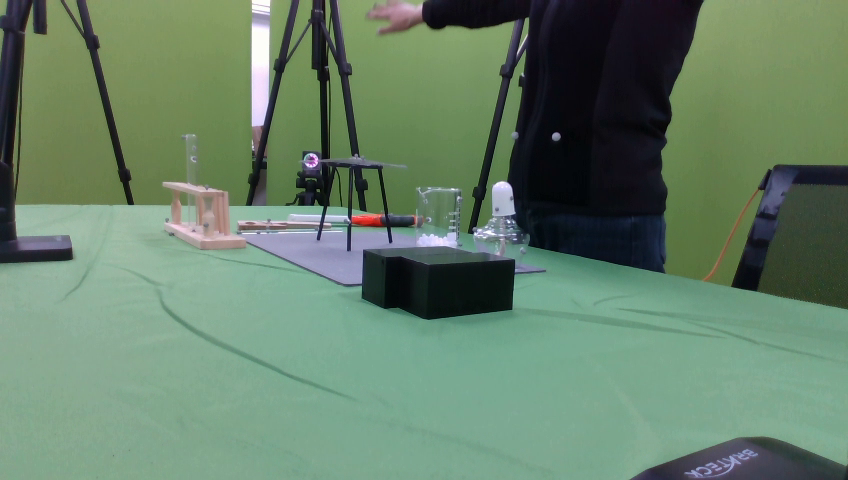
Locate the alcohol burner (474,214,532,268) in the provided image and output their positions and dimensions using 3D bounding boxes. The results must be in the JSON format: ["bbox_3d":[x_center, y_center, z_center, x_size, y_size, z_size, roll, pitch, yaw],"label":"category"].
[{"bbox_3d":[0.107,-0.022,0.819,0.078,0.119,0.078,1,9,0],"label":"alcohol burner"}]

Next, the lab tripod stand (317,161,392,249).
[{"bbox_3d":[-0.111,-0.059,0.963,0.148,0.131,0.148,4,8,0],"label":"lab tripod stand"}]

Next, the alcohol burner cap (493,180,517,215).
[{"bbox_3d":[0.107,-0.057,0.812,0.034,0.048,0.034,-7,11,2],"label":"alcohol burner cap"}]

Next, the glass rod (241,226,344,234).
[{"bbox_3d":[-0.239,-0.019,1.119,0.201,0.008,0.008,-3,9,-34],"label":"glass rod"}]

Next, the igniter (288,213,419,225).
[{"bbox_3d":[-0.145,-0.044,1.278,0.278,0.025,0.057,-1,-2,-21],"label":"igniter"}]

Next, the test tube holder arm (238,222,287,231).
[{"bbox_3d":[-0.296,-0.024,1.113,0.088,0.015,0.010,-2,42,-32],"label":"test tube holder arm"}]

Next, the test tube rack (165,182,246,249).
[{"bbox_3d":[-0.360,-0.045,0.982,0.067,0.085,0.241,-3,9,-34],"label":"test tube rack"}]

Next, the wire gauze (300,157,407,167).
[{"bbox_3d":[-0.112,-0.125,0.957,0.121,0.011,0.126,11,11,42],"label":"wire gauze"}]

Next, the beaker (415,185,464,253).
[{"bbox_3d":[0.021,-0.033,0.938,0.073,0.100,0.084,7,9,35],"label":"beaker"}]

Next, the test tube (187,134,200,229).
[{"bbox_3d":[-0.366,-0.092,0.959,0.017,0.150,0.017,0,3,0],"label":"test tube"}]

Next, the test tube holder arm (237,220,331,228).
[{"bbox_3d":[-0.260,-0.029,1.141,0.179,0.015,0.013,-2,42,-33],"label":"test tube holder arm"}]
